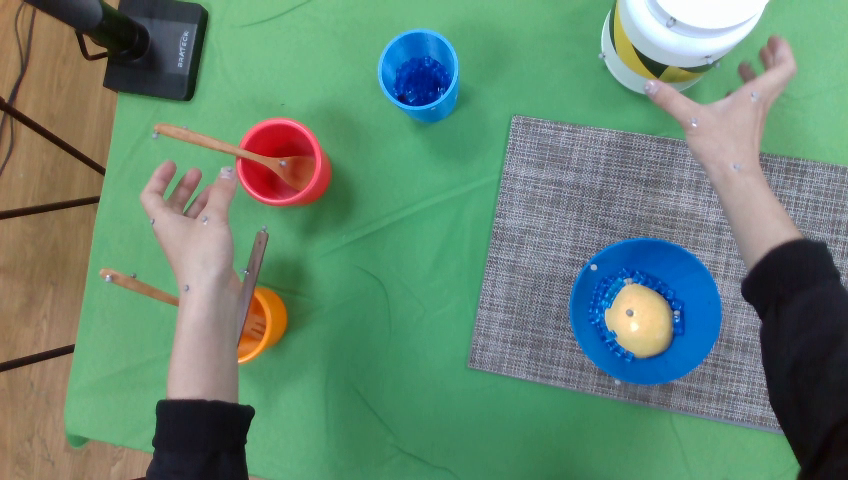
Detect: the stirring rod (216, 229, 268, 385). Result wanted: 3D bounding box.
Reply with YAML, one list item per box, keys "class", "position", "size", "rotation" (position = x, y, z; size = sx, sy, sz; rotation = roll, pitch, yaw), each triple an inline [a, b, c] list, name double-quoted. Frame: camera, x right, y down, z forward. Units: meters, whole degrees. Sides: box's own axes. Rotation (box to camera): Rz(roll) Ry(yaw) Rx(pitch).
- class: "stirring rod"
  position: [-0.199, 0.073, 0.664]
  size: [0.014, 0.006, 0.176]
  rotation: [15, 90, 4]

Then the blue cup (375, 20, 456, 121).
- class: "blue cup"
  position: [-0.002, -0.176, 0.676]
  size: [0.092, 0.100, 0.092]
  rotation: [0, 86, 7]

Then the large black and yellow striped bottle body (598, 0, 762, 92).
- class: "large black and yellow striped bottle body"
  position: [0.255, -0.237, 0.610]
  size: [0.130, 0.184, 0.130]
  rotation: [0, 88, 6]

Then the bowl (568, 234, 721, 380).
- class: "bowl"
  position: [0.227, 0.070, 0.653]
  size: [0.151, 0.077, 0.151]
  rotation: [0, 88, 6]

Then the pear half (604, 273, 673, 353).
- class: "pear half"
  position: [0.230, 0.077, 0.646]
  size: [0.070, 0.031, 0.087]
  rotation: [-16, 82, 3]

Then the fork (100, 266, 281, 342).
- class: "fork"
  position: [-0.252, 0.072, 0.671]
  size: [0.209, 0.018, 0.028]
  rotation: [29, 103, -37]

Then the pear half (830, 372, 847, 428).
- class: "pear half"
  position: [0.454, 0.170, 0.610]
  size: [0.056, 0.110, 0.076]
  rotation: [-9, 83, 7]

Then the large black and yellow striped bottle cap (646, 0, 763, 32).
- class: "large black and yellow striped bottle cap"
  position: [0.247, -0.240, 0.527]
  size: [0.115, 0.019, 0.115]
  rotation: [0, 89, 7]

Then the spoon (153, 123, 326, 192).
- class: "spoon"
  position: [-0.198, -0.096, 0.675]
  size: [0.195, 0.021, 0.041]
  rotation: [16, 92, -37]
